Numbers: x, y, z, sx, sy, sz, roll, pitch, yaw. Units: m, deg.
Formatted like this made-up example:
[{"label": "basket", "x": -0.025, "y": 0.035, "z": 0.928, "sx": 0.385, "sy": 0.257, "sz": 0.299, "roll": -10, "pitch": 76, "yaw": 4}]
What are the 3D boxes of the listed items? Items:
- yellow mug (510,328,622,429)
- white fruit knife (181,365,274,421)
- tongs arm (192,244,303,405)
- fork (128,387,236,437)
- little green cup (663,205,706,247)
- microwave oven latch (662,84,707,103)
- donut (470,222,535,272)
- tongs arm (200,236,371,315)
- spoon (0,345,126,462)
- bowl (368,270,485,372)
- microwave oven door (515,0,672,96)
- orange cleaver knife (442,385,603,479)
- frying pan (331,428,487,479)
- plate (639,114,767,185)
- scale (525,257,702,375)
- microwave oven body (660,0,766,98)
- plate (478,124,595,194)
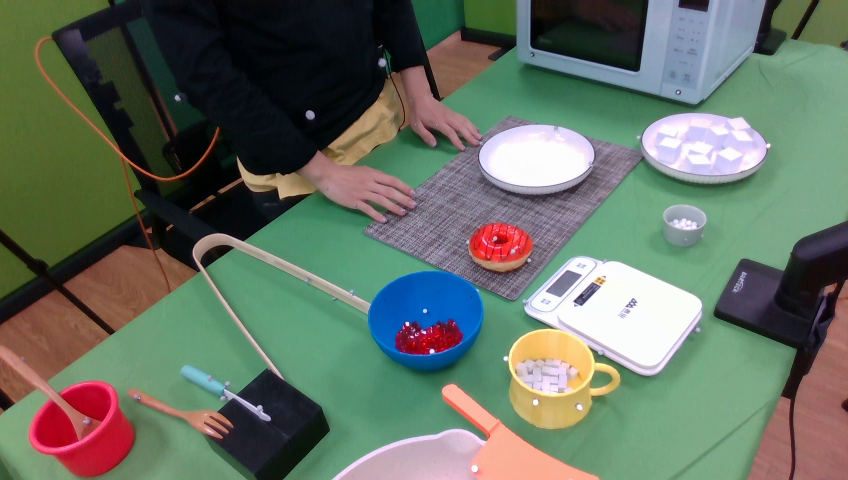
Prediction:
[{"label": "yellow mug", "x": 0.168, "y": 0.164, "z": 0.721, "sx": 0.130, "sy": 0.064, "sz": 0.099, "roll": 0, "pitch": 40, "yaw": 8}, {"label": "white fruit knife", "x": -0.245, "y": 0.187, "z": 0.747, "sx": 0.205, "sy": 0.027, "sz": 0.016, "roll": 9, "pitch": 41, "yaw": 40}, {"label": "tongs arm", "x": -0.268, "y": 0.111, "z": 0.884, "sx": 0.028, "sy": 0.028, "sz": 0.384, "roll": -36, "pitch": 47, "yaw": -18}, {"label": "fork", "x": -0.305, "y": 0.207, "z": 0.744, "sx": 0.206, "sy": 0.019, "sz": 0.028, "roll": 3, "pitch": 42, "yaw": 36}, {"label": "little green cup", "x": 0.396, "y": -0.020, "z": 0.926, "sx": 0.061, "sy": 0.039, "sz": 0.061, "roll": -4, "pitch": 40, "yaw": 4}, {"label": "microwave oven latch", "x": 0.517, "y": -0.296, "z": 1.204, "sx": 0.078, "sy": 0.029, "sz": 0.030, "roll": 27, "pitch": 52, "yaw": 35}, {"label": "donut", "x": 0.119, "y": 0.009, "z": 0.923, "sx": 0.099, "sy": 0.048, "sz": 0.098, "roll": -4, "pitch": 38, "yaw": 3}, {"label": "tongs arm", "x": -0.209, "y": 0.062, "z": 0.924, "sx": 0.381, "sy": 0.027, "sz": 0.051, "roll": 23, "pitch": 54, "yaw": 32}, {"label": "spoon", "x": -0.434, "y": 0.192, "z": 0.720, "sx": 0.194, "sy": 0.021, "sz": 0.042, "roll": 47, "pitch": 53, "yaw": -7}, {"label": "bowl", "x": 0.007, "y": 0.118, "z": 0.791, "sx": 0.151, "sy": 0.077, "sz": 0.150, "roll": -5, "pitch": 40, "yaw": 4}, {"label": "microwave oven door", "x": 0.343, "y": -0.454, "z": 1.259, "sx": 0.353, "sy": 0.245, "sz": 0.039, "roll": 26, "pitch": 51, "yaw": 33}, {"label": "orange cleaver knife", "x": 0.086, "y": 0.219, "z": 0.612, "sx": 0.209, "sy": 0.012, "sz": 0.077, "roll": 28, "pitch": 49, "yaw": 35}, {"label": "frying pan", "x": -0.089, "y": 0.306, "z": 0.564, "sx": 0.487, "sy": 0.103, "sz": 0.306, "roll": 10, "pitch": 41, "yaw": 7}, {"label": "plate", "x": 0.489, "y": -0.157, "z": 1.074, "sx": 0.207, "sy": 0.039, "sz": 0.206, "roll": -4, "pitch": 40, "yaw": 4}, {"label": "scale", "x": 0.254, "y": 0.091, "z": 0.821, "sx": 0.199, "sy": 0.032, "sz": 0.149, "roll": 28, "pitch": 51, "yaw": 35}, {"label": "microwave oven body", "x": 0.472, "y": -0.513, "z": 1.317, "sx": 0.438, "sy": 0.261, "sz": 0.327, "roll": 26, "pitch": 51, "yaw": 34}, {"label": "plate", "x": 0.202, "y": -0.142, "z": 1.093, "sx": 0.209, "sy": 0.038, "sz": 0.208, "roll": -4, "pitch": 40, "yaw": 4}]
